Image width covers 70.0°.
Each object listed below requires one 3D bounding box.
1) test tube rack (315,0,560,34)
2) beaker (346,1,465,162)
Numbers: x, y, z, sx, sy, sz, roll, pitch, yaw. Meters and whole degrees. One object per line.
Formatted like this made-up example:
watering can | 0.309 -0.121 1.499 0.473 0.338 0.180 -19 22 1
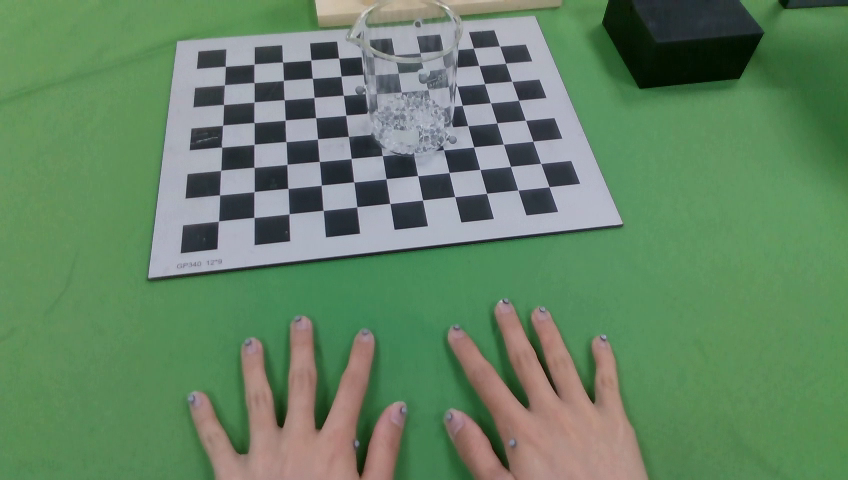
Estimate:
test tube rack | 0.013 -0.265 0.585 0.243 0.086 0.066 -8 55 -7
beaker | -0.013 -0.116 0.464 0.084 0.101 0.073 -7 54 -5
